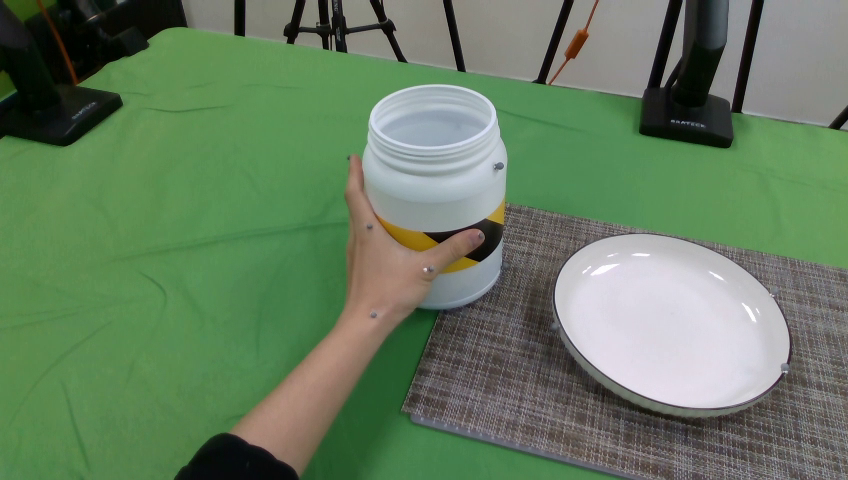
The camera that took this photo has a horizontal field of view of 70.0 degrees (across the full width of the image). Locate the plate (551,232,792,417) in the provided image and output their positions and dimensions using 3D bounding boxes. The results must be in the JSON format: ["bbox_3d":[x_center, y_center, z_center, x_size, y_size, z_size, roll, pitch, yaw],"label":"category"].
[{"bbox_3d":[0.220,0.075,0.557,0.208,0.039,0.205,1,43,0],"label":"plate"}]

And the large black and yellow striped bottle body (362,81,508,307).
[{"bbox_3d":[0.012,-0.041,0.571,0.131,0.186,0.129,-2,42,2],"label":"large black and yellow striped bottle body"}]
